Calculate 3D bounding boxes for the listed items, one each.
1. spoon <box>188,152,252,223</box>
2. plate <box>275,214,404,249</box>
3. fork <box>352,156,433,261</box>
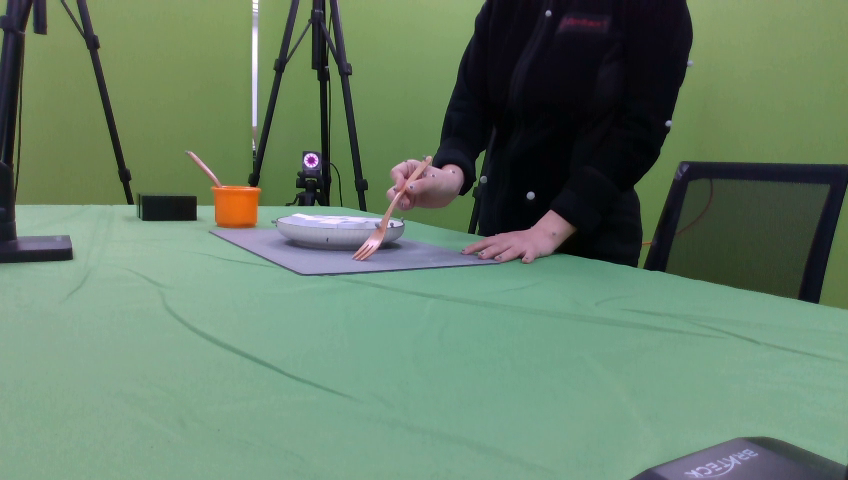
[{"bbox_3d":[-0.400,-0.103,1.178,0.021,0.193,0.042,-43,-11,28],"label":"spoon"},{"bbox_3d":[-0.135,-0.013,0.982,0.208,0.039,0.207,3,7,0],"label":"plate"},{"bbox_3d":[-0.040,-0.049,0.867,0.028,0.207,0.019,10,-31,39],"label":"fork"}]
